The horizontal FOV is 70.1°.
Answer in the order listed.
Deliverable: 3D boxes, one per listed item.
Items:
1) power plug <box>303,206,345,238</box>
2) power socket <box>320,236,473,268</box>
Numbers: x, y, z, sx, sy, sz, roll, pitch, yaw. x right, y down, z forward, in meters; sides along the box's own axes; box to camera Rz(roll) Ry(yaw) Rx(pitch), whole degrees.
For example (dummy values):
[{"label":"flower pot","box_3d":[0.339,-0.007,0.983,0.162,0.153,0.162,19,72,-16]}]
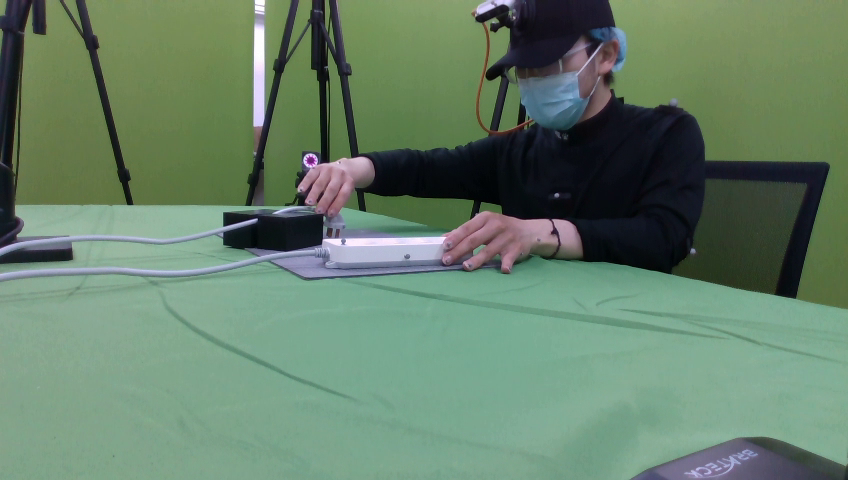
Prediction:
[{"label":"power plug","box_3d":[-0.171,-0.030,1.022,0.073,0.052,0.035,7,6,-12]},{"label":"power socket","box_3d":[-0.033,0.014,0.824,0.228,0.032,0.072,-2,7,-30]}]
